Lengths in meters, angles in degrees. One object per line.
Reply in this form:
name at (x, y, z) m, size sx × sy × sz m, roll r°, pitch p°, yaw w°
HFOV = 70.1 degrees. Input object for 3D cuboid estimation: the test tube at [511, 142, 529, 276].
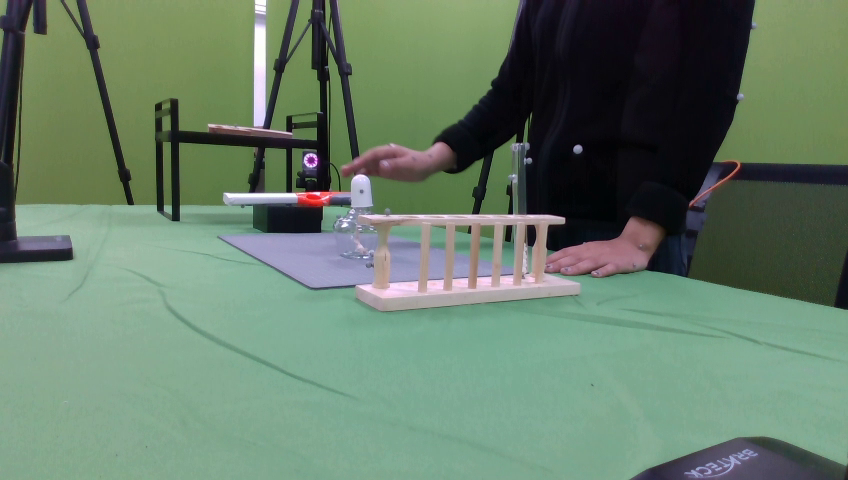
test tube at (0.108, -0.034, 0.678) m, size 0.017 × 0.150 × 0.017 m, roll -3°, pitch 7°, yaw 1°

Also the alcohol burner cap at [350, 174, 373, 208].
alcohol burner cap at (-0.090, -0.068, 0.850) m, size 0.034 × 0.048 × 0.034 m, roll -4°, pitch 9°, yaw 1°

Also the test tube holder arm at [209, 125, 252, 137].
test tube holder arm at (-0.419, -0.236, 1.308) m, size 0.088 × 0.015 × 0.010 m, roll 1°, pitch 40°, yaw -28°

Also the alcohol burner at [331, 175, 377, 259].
alcohol burner at (-0.091, -0.033, 0.855) m, size 0.078 × 0.119 × 0.078 m, roll 4°, pitch 7°, yaw 0°

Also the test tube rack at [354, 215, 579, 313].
test tube rack at (0.053, 0.019, 0.635) m, size 0.243 × 0.085 × 0.066 m, roll -1°, pitch 8°, yaw -29°

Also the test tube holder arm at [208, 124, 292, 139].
test tube holder arm at (-0.381, -0.238, 1.334) m, size 0.179 × 0.015 × 0.013 m, roll 1°, pitch 41°, yaw -29°

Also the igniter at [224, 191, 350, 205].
igniter at (-0.237, -0.079, 1.157) m, size 0.278 × 0.025 × 0.057 m, roll -3°, pitch 21°, yaw -31°
